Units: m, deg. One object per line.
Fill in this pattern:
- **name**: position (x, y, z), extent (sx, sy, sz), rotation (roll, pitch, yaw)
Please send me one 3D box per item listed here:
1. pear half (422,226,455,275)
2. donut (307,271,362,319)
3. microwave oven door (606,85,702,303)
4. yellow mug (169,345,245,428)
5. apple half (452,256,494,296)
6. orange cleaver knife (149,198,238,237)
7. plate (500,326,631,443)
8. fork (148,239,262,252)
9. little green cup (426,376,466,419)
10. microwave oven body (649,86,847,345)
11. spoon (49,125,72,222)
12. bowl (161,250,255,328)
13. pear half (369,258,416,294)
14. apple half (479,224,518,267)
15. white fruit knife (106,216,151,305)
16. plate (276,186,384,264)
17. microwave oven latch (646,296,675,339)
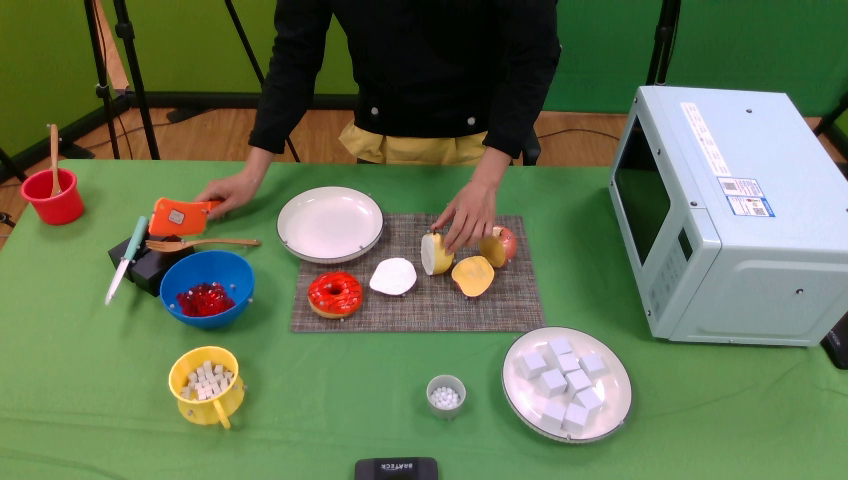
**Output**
- **pear half**: position (0.030, 0.012, 1.122), extent (0.056, 0.110, 0.076), rotation (-16, 52, -19)
- **donut**: position (-0.157, 0.097, 1.073), extent (0.099, 0.048, 0.098), rotation (4, 45, -4)
- **microwave oven door**: position (0.423, -0.094, 1.140), extent (0.039, 0.245, 0.353), rotation (2, 46, -1)
- **yellow mug**: position (-0.322, 0.230, 0.922), extent (0.100, 0.064, 0.130), rotation (-24, 53, -25)
- **apple half**: position (0.095, 0.070, 1.120), extent (0.081, 0.033, 0.081), rotation (-7, 62, 13)
- **orange cleaver knife**: position (-0.436, -0.047, 1.162), extent (0.012, 0.077, 0.211), rotation (15, 13, 23)
- **plate**: position (0.224, 0.234, 0.978), extent (0.208, 0.039, 0.206), rotation (2, 46, -2)
- **fork**: position (-0.399, 0.007, 1.118), extent (0.208, 0.019, 0.028), rotation (-4, 36, -37)
- **little green cup**: position (0.033, 0.248, 0.950), extent (0.061, 0.039, 0.061), rotation (2, 46, -2)
- **microwave oven body**: position (0.567, -0.053, 1.118), extent (0.326, 0.261, 0.439), rotation (2, 45, -1)
- **spoon**: position (-0.717, -0.132, 1.188), extent (0.041, 0.021, 0.193), rotation (-3, 90, -7)
- **bowl**: position (-0.362, 0.097, 1.040), extent (0.151, 0.077, 0.150), rotation (2, 45, -2)
- **pear half**: position (-0.058, 0.072, 1.112), extent (0.088, 0.031, 0.070), rotation (-23, 64, -12)
- **apple half**: position (0.148, 0.008, 1.160), extent (0.053, 0.075, 0.080), rotation (-24, 48, -30)
- **white fruit knife**: position (-0.519, 0.032, 1.066), extent (0.027, 0.016, 0.206), rotation (-18, 45, 19)
- **plate**: position (-0.184, -0.027, 1.194), extent (0.209, 0.038, 0.208), rotation (2, 46, -2)
- **microwave oven latch**: position (0.412, 0.134, 1.061), extent (0.030, 0.029, 0.078), rotation (4, 45, 1)
